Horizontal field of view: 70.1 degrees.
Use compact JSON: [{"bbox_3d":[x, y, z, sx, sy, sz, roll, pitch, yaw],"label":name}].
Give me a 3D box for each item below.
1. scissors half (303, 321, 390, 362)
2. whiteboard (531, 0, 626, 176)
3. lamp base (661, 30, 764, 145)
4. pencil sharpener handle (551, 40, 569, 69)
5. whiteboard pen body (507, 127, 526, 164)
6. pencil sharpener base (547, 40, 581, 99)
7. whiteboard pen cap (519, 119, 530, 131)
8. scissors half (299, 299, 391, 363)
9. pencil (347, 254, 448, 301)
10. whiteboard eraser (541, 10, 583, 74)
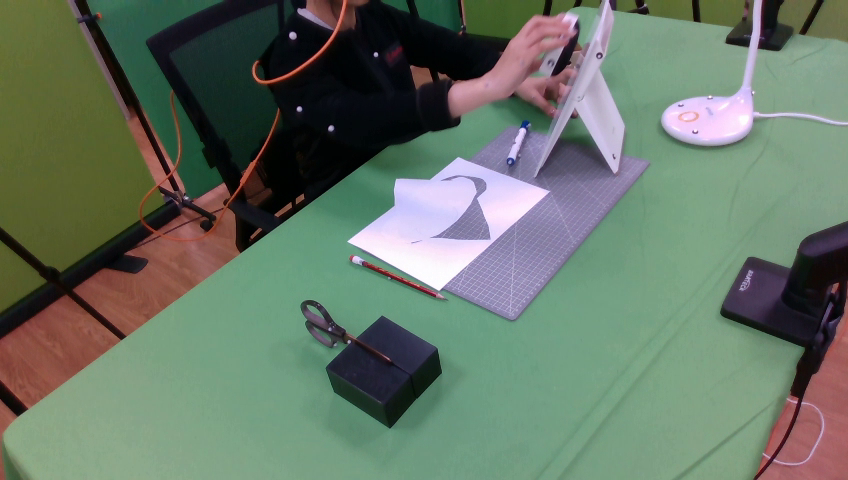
[{"bbox_3d":[-0.105,0.138,0.803,0.174,0.040,0.013,8,27,43],"label":"scissors half"},{"bbox_3d":[0.320,-0.258,1.050,0.144,0.306,0.217,22,45,5],"label":"whiteboard"},{"bbox_3d":[0.535,-0.287,1.096,0.179,0.181,0.159,-10,40,-4],"label":"lamp base"},{"bbox_3d":[0.291,-0.409,1.321,0.036,0.068,0.030,2,40,-6],"label":"pencil sharpener handle"},{"bbox_3d":[0.181,-0.189,1.162,0.017,0.017,0.140,7,42,19],"label":"whiteboard pen body"},{"bbox_3d":[0.300,-0.368,1.290,0.061,0.107,0.076,-8,40,2],"label":"pencil sharpener base"},{"bbox_3d":[0.199,-0.227,1.204,0.018,0.018,0.033,7,43,18],"label":"whiteboard pen cap"},{"bbox_3d":[-0.107,0.120,0.794,0.174,0.040,0.013,26,44,32],"label":"scissors half"},{"bbox_3d":[-0.044,0.058,0.933,0.192,0.012,0.012,22,49,28],"label":"pencil"},{"bbox_3d":[0.222,-0.313,0.959,0.042,0.055,0.112,23,51,5],"label":"whiteboard eraser"}]
